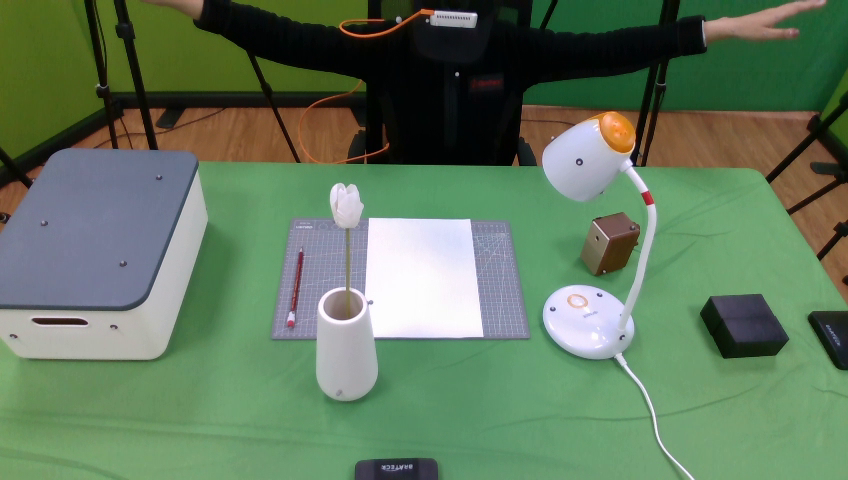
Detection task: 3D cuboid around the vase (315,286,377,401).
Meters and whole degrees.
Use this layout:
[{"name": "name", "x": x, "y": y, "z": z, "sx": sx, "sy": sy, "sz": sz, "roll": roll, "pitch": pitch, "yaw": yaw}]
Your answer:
[{"name": "vase", "x": -0.119, "y": 0.159, "z": 0.911, "sx": 0.098, "sy": 0.201, "sz": 0.097, "roll": 2, "pitch": 47, "yaw": -2}]

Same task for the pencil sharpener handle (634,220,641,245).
[{"name": "pencil sharpener handle", "x": 0.405, "y": -0.015, "z": 1.161, "sx": 0.031, "sy": 0.068, "sz": 0.035, "roll": -15, "pitch": 44, "yaw": -18}]

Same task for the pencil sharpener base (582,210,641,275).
[{"name": "pencil sharpener base", "x": 0.357, "y": 0.005, "z": 1.155, "sx": 0.077, "sy": 0.107, "sz": 0.061, "roll": -15, "pitch": 48, "yaw": -18}]

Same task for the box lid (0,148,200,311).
[{"name": "box lid", "x": -0.536, "y": -0.034, "z": 0.989, "sx": 0.263, "sy": 0.015, "sz": 0.369, "roll": 1, "pitch": 45, "yaw": -3}]

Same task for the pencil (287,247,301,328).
[{"name": "pencil", "x": -0.236, "y": 0.081, "z": 1.107, "sx": 0.012, "sy": 0.012, "sz": 0.193, "roll": 0, "pitch": 45, "yaw": -4}]

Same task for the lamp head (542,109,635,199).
[{"name": "lamp head", "x": 0.253, "y": -0.131, "z": 0.893, "sx": 0.113, "sy": 0.123, "sz": 0.112, "roll": 10, "pitch": 66, "yaw": -24}]

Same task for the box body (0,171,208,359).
[{"name": "box body", "x": -0.541, "y": 0.021, "z": 1.042, "sx": 0.254, "sy": 0.161, "sz": 0.361, "roll": 1, "pitch": 46, "yaw": -3}]

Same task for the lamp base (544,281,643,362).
[{"name": "lamp base", "x": 0.304, "y": 0.095, "z": 1.014, "sx": 0.161, "sy": 0.181, "sz": 0.178, "roll": -24, "pitch": 54, "yaw": -24}]

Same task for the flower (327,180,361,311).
[{"name": "flower", "x": -0.110, "y": 0.086, "z": 0.867, "sx": 0.044, "sy": 0.363, "sz": 0.038, "roll": 22, "pitch": 33, "yaw": 35}]
